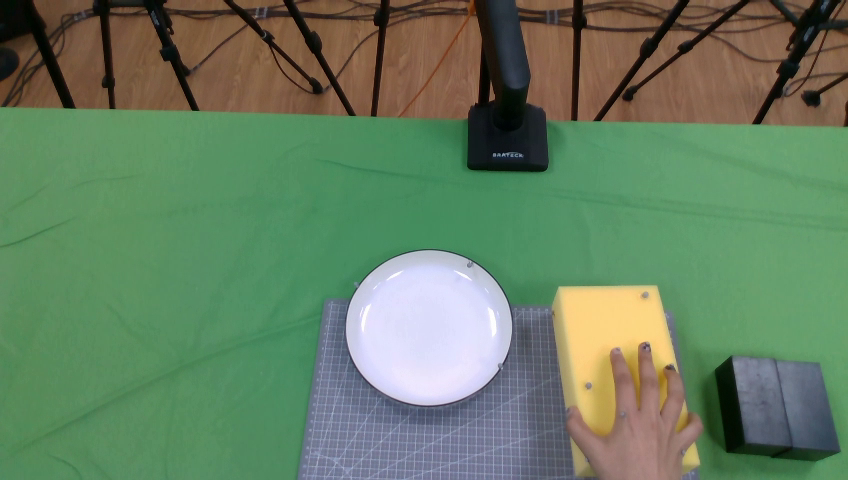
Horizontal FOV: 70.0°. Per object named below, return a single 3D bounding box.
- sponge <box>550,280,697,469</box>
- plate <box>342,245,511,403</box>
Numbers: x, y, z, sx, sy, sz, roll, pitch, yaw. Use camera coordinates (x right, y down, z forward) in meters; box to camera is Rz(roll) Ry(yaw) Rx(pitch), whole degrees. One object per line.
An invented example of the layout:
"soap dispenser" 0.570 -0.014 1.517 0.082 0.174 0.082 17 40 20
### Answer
"sponge" 0.219 0.150 0.694 0.118 0.061 0.205 -2 58 0
"plate" 0.004 0.104 0.754 0.209 0.038 0.207 0 60 1
